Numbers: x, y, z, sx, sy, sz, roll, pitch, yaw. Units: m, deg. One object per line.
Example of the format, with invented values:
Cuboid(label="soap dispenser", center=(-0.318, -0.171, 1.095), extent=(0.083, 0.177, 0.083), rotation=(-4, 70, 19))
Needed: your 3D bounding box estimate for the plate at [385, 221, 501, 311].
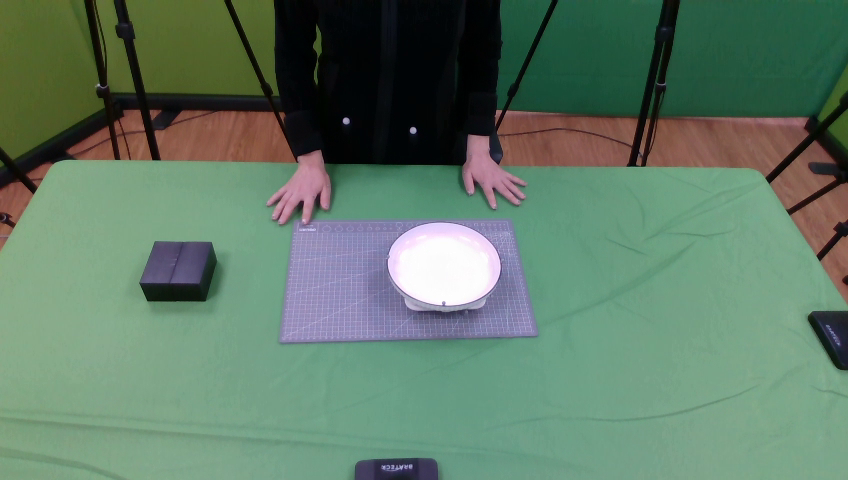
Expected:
Cuboid(label="plate", center=(0.034, 0.050, 1.096), extent=(0.209, 0.038, 0.208), rotation=(2, 46, -2))

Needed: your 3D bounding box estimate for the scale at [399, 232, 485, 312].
Cuboid(label="scale", center=(0.031, 0.050, 1.141), extent=(0.149, 0.032, 0.199), rotation=(-1, 46, -6))
